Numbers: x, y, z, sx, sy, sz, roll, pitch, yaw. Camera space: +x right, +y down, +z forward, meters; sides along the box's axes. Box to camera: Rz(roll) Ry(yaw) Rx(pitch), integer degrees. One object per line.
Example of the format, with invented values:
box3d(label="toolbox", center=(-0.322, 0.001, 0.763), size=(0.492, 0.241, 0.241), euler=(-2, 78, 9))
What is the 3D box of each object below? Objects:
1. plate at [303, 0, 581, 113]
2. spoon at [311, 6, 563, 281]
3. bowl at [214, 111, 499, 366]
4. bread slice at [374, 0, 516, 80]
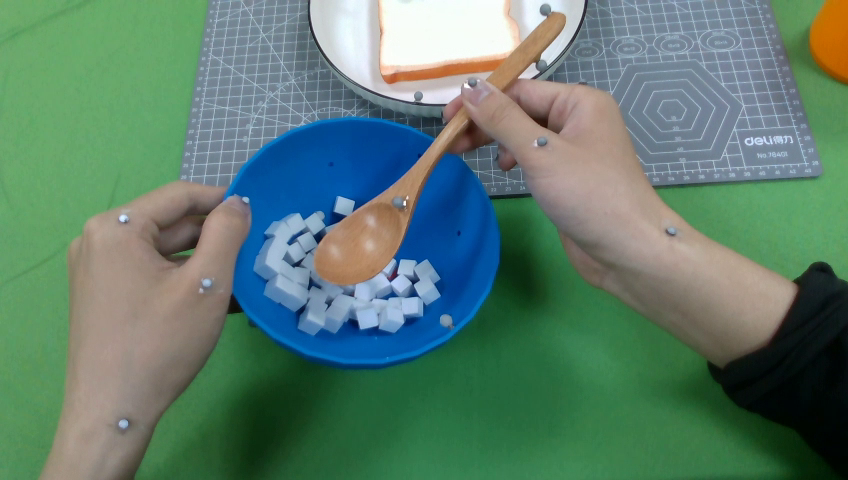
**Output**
box3d(label="plate", center=(0.013, -0.181, 0.465), size=(0.209, 0.038, 0.207), euler=(-2, 67, 5))
box3d(label="spoon", center=(0.011, -0.054, 0.321), size=(0.041, 0.022, 0.193), euler=(40, 90, 32))
box3d(label="bowl", center=(-0.039, 0.008, 0.355), size=(0.152, 0.077, 0.150), euler=(5, 63, -8))
box3d(label="bread slice", center=(0.010, -0.185, 0.470), size=(0.107, 0.018, 0.133), euler=(-10, 68, 2))
